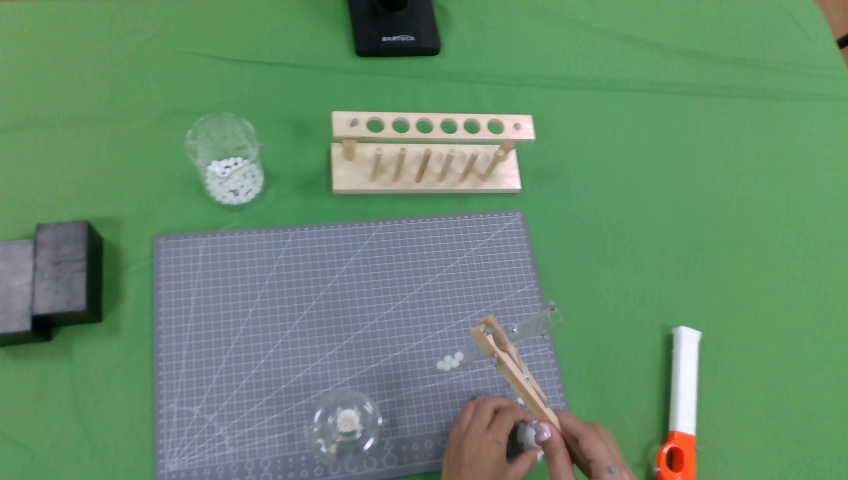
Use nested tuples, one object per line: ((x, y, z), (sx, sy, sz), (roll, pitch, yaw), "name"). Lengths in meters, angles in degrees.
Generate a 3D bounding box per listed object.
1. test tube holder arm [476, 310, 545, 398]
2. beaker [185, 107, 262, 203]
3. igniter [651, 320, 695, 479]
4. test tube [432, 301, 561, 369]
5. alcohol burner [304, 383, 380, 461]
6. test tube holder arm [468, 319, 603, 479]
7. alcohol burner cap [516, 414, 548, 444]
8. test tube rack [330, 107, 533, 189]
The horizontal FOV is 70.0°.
((0.072, 0.097, 0.501), (0.010, 0.015, 0.088), (-37, 97, -44), "test tube holder arm")
((-0.224, -0.090, 0.692), (0.074, 0.100, 0.083), (-2, 70, -11), "beaker")
((0.293, 0.229, 0.706), (0.057, 0.025, 0.275), (19, 67, -13), "igniter")
((0.054, 0.082, 0.498), (0.017, 0.150, 0.017), (19, 56, -30), "test tube")
((-0.081, 0.180, 0.606), (0.078, 0.119, 0.077), (4, 67, -10), "alcohol burner")
((0.095, 0.136, 0.504), (0.179, 0.015, 0.013), (53, 47, -10), "test tube holder arm")
((0.121, 0.208, 0.668), (0.034, 0.048, 0.033), (1, 69, -2), "alcohol burner cap")
((0.007, -0.112, 0.750), (0.243, 0.085, 0.066), (-1, 70, -11), "test tube rack")
